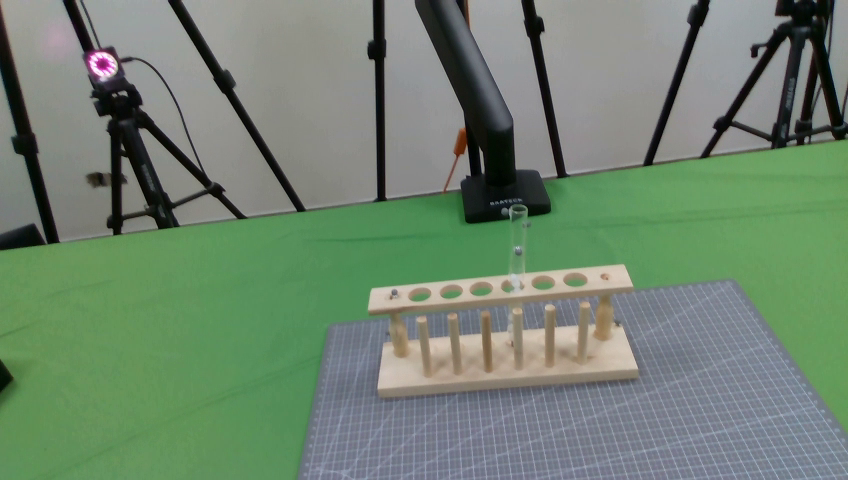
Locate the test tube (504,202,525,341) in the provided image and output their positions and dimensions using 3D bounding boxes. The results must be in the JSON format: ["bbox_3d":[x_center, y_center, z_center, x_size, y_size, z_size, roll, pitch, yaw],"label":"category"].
[{"bbox_3d":[0.083,0.034,0.561,0.017,0.151,0.017,-2,31,2],"label":"test tube"}]

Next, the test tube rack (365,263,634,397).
[{"bbox_3d":[0.070,0.086,0.575,0.242,0.086,0.066,-6,33,5],"label":"test tube rack"}]
